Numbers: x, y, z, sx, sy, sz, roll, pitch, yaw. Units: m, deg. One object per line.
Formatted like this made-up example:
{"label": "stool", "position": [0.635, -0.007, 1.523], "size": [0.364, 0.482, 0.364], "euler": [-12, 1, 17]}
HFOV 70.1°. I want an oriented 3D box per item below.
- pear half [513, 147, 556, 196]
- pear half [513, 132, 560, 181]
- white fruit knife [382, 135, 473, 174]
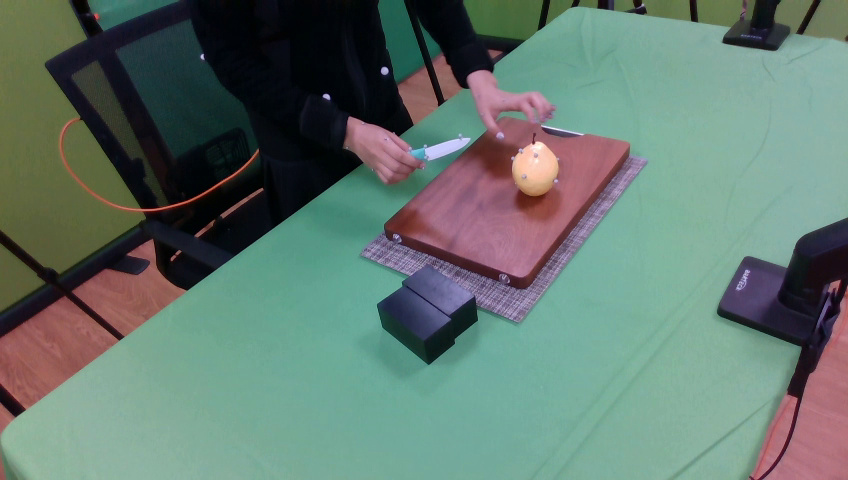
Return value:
{"label": "pear half", "position": [0.178, -0.106, 0.977], "size": [0.070, 0.088, 0.031], "euler": [7, 42, 12]}
{"label": "pear half", "position": [0.186, -0.136, 0.996], "size": [0.076, 0.110, 0.056], "euler": [6, 42, 13]}
{"label": "white fruit knife", "position": [0.001, -0.140, 0.975], "size": [0.206, 0.027, 0.016], "euler": [-11, 37, 44]}
